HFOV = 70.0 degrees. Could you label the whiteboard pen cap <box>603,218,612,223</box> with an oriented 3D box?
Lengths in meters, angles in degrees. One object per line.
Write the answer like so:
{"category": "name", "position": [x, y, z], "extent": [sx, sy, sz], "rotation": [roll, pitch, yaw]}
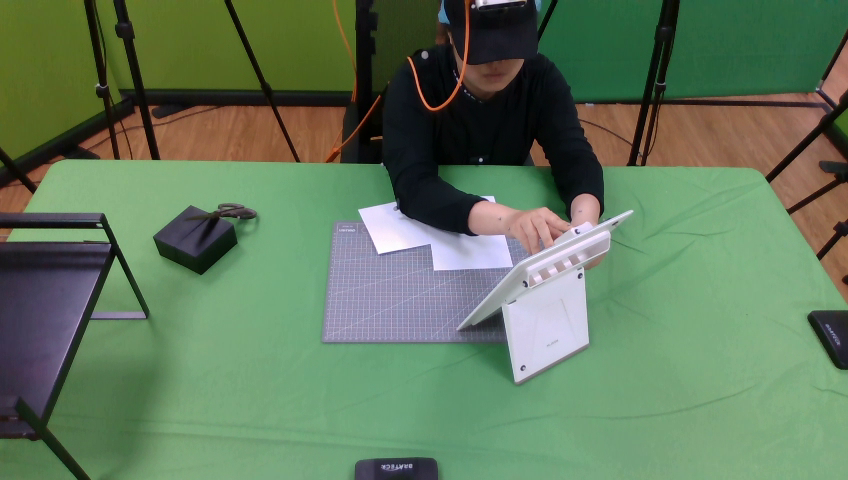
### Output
{"category": "whiteboard pen cap", "position": [0.379, -0.031, 1.255], "extent": [0.033, 0.018, 0.018], "rotation": [-33, 56, -30]}

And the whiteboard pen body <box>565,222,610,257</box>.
{"category": "whiteboard pen body", "position": [0.334, -0.003, 1.229], "extent": [0.141, 0.017, 0.017], "rotation": [-32, 56, -30]}

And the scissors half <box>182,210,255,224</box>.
{"category": "scissors half", "position": [-0.389, -0.043, 1.158], "extent": [0.040, 0.013, 0.175], "rotation": [39, 21, 23]}

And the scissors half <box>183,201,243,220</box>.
{"category": "scissors half", "position": [-0.405, -0.054, 1.163], "extent": [0.040, 0.013, 0.175], "rotation": [28, 18, 7]}

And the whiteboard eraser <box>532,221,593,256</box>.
{"category": "whiteboard eraser", "position": [0.232, 0.014, 1.008], "extent": [0.056, 0.113, 0.041], "rotation": [-16, 71, -39]}

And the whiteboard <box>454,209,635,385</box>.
{"category": "whiteboard", "position": [0.211, 0.111, 0.954], "extent": [0.217, 0.306, 0.143], "rotation": [-21, 72, -24]}
